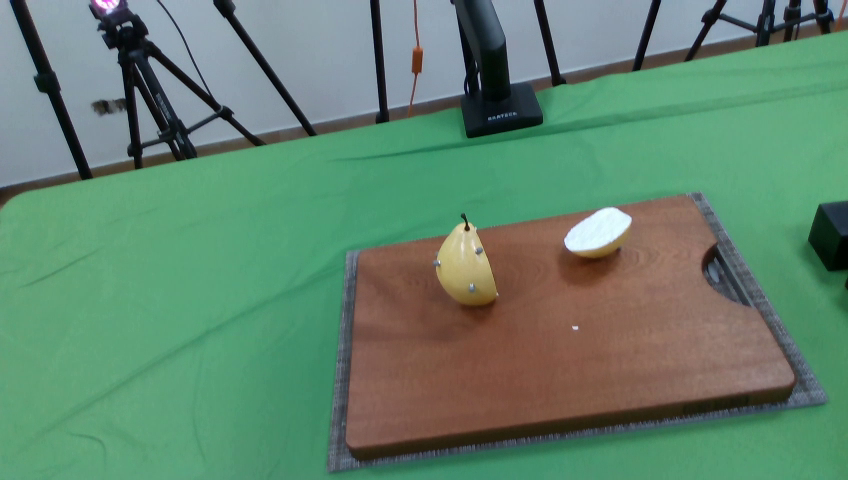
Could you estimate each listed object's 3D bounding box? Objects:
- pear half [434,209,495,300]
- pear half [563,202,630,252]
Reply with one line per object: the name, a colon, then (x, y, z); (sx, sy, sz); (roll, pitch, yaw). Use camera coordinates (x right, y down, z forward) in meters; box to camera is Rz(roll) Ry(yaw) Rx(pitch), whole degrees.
pear half: (0.036, 0.014, 0.620); (0.056, 0.111, 0.075); (-22, 38, -8)
pear half: (0.191, -0.009, 0.660); (0.070, 0.031, 0.088); (-2, 27, 36)
